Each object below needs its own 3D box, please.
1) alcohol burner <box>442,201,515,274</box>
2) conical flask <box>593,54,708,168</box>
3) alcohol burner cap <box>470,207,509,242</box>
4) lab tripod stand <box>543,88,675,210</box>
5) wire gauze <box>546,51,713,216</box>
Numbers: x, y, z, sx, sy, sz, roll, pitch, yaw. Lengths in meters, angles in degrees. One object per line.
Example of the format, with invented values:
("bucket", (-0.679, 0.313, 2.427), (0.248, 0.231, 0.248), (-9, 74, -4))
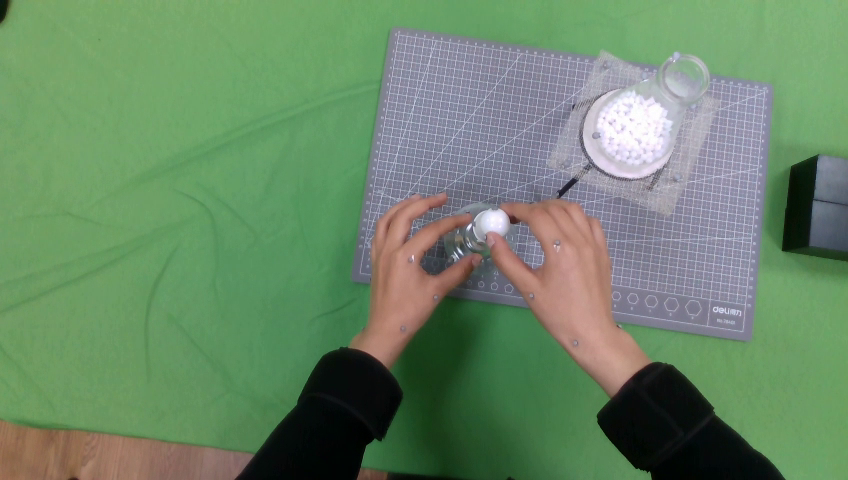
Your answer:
("alcohol burner", (0.057, -0.004, 0.624), (0.078, 0.119, 0.077), (0, 86, 0))
("conical flask", (0.191, -0.110, 0.502), (0.075, 0.122, 0.075), (0, 82, 0))
("alcohol burner cap", (0.062, -0.016, 0.559), (0.034, 0.048, 0.034), (0, 87, -4))
("lab tripod stand", (0.187, -0.094, 0.626), (0.148, 0.132, 0.148), (0, 82, 1))
("wire gauze", (0.192, -0.099, 0.560), (0.121, 0.011, 0.125), (26, 81, 1))
